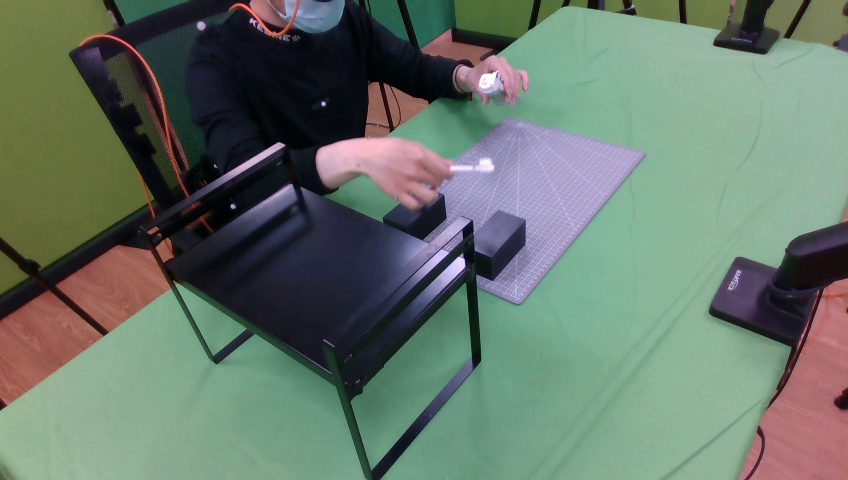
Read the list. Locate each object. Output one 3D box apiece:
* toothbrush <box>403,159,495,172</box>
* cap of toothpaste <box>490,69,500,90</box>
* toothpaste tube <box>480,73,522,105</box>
[{"bbox_3d":[0.033,-0.113,0.931,0.180,0.017,0.014,5,39,41],"label":"toothbrush"},{"bbox_3d":[0.124,-0.280,1.055,0.011,0.037,0.037,15,45,15],"label":"cap of toothpaste"},{"bbox_3d":[0.142,-0.284,1.145,0.055,0.034,0.166,-9,-4,22],"label":"toothpaste tube"}]
